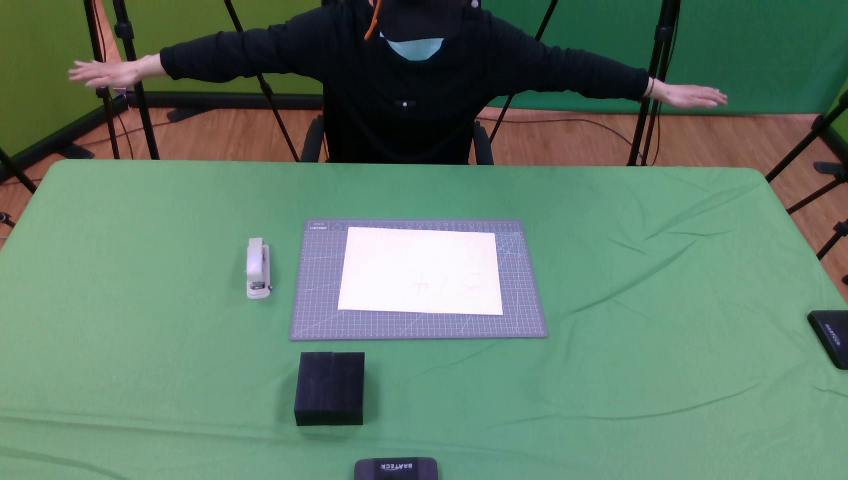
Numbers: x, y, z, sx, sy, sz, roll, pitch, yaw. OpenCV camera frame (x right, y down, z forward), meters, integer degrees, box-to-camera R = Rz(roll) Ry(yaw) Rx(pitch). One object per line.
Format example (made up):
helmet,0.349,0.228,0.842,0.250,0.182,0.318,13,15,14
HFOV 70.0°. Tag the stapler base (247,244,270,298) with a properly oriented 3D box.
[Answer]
stapler base,-0.308,0.050,1.123,0.041,0.024,0.129,-4,45,-12

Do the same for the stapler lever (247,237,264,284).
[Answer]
stapler lever,-0.307,0.031,1.106,0.027,0.040,0.117,-4,45,-12
